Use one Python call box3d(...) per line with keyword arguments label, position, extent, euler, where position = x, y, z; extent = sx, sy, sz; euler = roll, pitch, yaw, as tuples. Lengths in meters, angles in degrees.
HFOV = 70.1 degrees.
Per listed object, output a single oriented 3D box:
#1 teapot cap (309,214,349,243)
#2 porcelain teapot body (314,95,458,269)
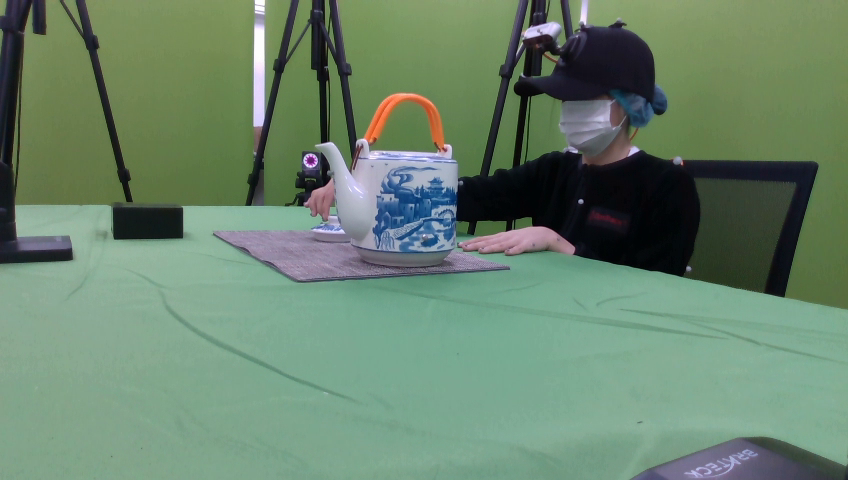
box3d(label="teapot cap", position=(-0.150, -0.020, 1.013), extent=(0.085, 0.044, 0.085), euler=(3, 11, 0))
box3d(label="porcelain teapot body", position=(-0.049, -0.079, 0.800), extent=(0.206, 0.225, 0.144), euler=(-3, 9, -37))
